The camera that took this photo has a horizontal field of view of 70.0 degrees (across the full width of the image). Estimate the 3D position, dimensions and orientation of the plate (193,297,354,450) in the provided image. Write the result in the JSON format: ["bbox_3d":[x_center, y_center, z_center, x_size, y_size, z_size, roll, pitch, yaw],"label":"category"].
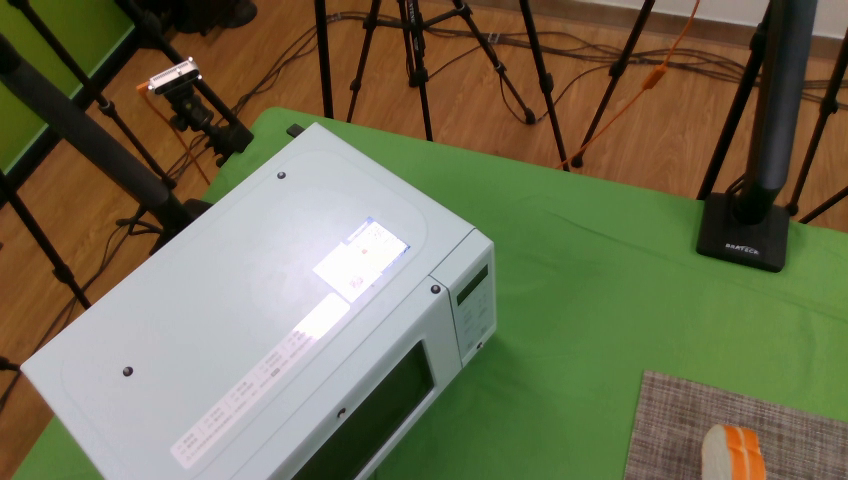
[{"bbox_3d":[-0.193,0.174,0.795,0.207,0.039,0.205,-1,56,2],"label":"plate"}]

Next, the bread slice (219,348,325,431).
[{"bbox_3d":[-0.195,0.200,0.788,0.134,0.018,0.106,-6,56,-9],"label":"bread slice"}]

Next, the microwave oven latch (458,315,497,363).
[{"bbox_3d":[0.068,0.131,0.837,0.030,0.030,0.079,37,70,25],"label":"microwave oven latch"}]

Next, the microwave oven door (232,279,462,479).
[{"bbox_3d":[-0.091,0.222,0.680,0.039,0.246,0.355,35,68,26],"label":"microwave oven door"}]

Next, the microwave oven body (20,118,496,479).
[{"bbox_3d":[-0.170,0.121,0.759,0.323,0.262,0.441,35,69,25],"label":"microwave oven body"}]
